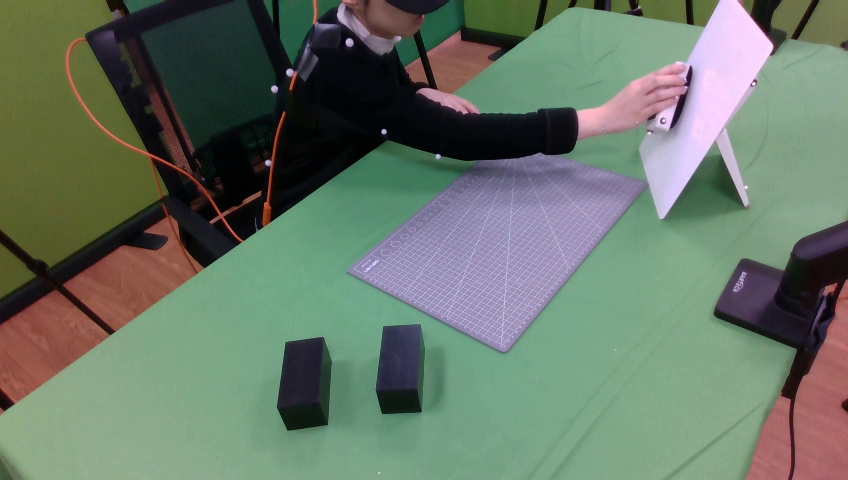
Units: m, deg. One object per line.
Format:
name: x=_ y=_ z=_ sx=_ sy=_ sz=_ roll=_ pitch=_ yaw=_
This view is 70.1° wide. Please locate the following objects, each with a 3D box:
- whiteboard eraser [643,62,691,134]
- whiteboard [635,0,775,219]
whiteboard eraser: x=0.403 y=-0.232 z=0.999 sx=0.042 sy=0.112 sz=0.055 roll=16 pitch=5 yaw=-9
whiteboard: x=0.486 y=-0.192 z=0.956 sx=0.144 sy=0.305 sz=0.216 roll=14 pitch=41 yaw=-4
